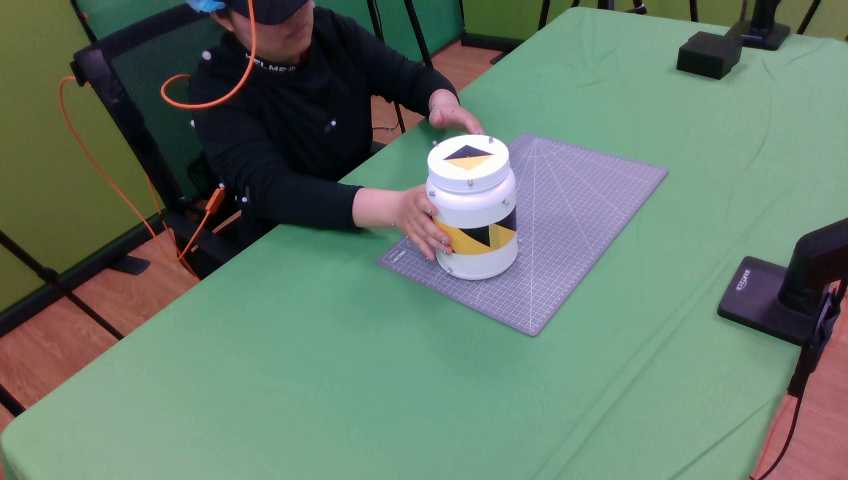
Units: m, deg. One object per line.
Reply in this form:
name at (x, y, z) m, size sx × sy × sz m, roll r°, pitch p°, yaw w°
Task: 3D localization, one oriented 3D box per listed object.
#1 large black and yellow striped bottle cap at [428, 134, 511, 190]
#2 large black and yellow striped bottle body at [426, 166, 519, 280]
large black and yellow striped bottle cap at (0.063, -0.111, 0.840) m, size 0.115 × 0.019 × 0.114 m, roll -5°, pitch 41°, yaw 5°
large black and yellow striped bottle body at (0.072, -0.047, 0.894) m, size 0.131 × 0.185 × 0.130 m, roll -5°, pitch 40°, yaw 5°
